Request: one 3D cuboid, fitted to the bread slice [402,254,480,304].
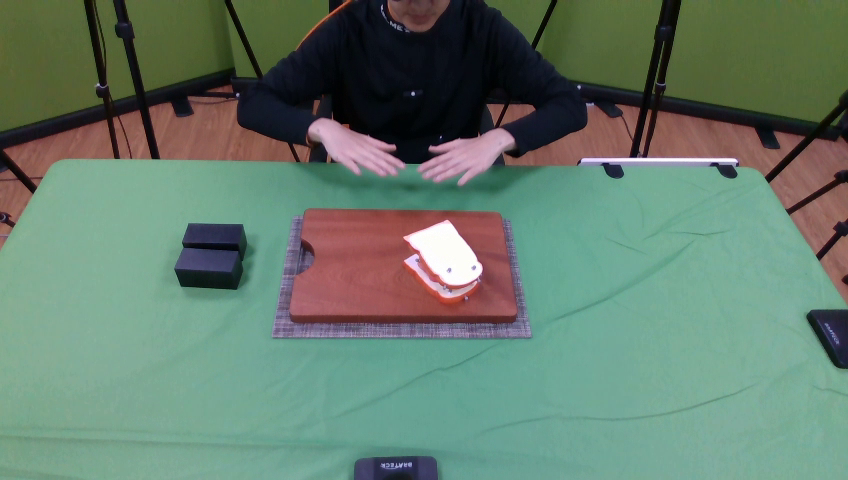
[{"bbox_3d":[0.039,0.058,1.106,0.105,0.019,0.131,-29,54,-25],"label":"bread slice"}]

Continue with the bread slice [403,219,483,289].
[{"bbox_3d":[0.041,0.028,1.075,0.107,0.018,0.133,-25,64,-35],"label":"bread slice"}]
